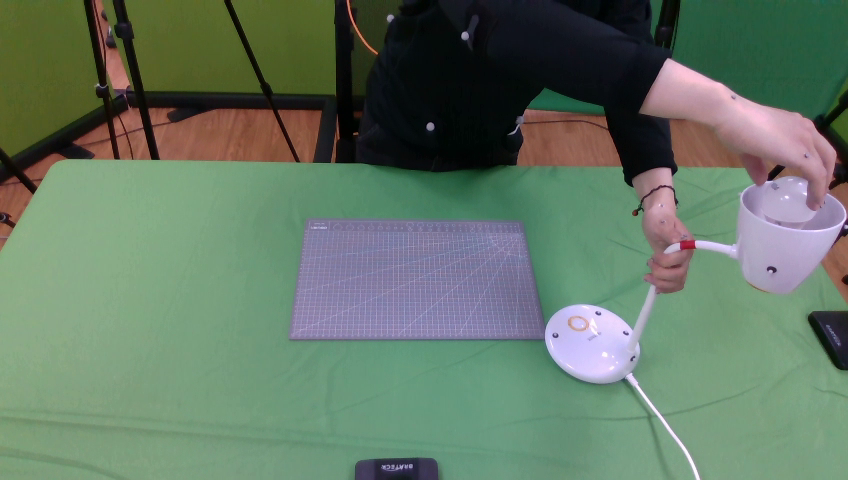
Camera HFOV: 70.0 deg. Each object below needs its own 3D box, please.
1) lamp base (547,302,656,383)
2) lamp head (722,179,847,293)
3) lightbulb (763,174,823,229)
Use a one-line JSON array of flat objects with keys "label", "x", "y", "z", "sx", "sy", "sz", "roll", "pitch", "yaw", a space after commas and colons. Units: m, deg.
[{"label": "lamp base", "x": 0.304, "y": 0.127, "z": 0.982, "sx": 0.160, "sy": 0.181, "sz": 0.178, "roll": -33, "pitch": 59, "yaw": -29}, {"label": "lamp head", "x": 0.425, "y": 0.002, "z": 0.727, "sx": 0.112, "sy": 0.123, "sz": 0.111, "roll": 0, "pitch": 39, "yaw": 0}, {"label": "lightbulb", "x": 0.427, "y": -0.026, "z": 0.711, "sx": 0.059, "sy": 0.108, "sz": 0.059, "roll": -5, "pitch": 31, "yaw": 4}]
